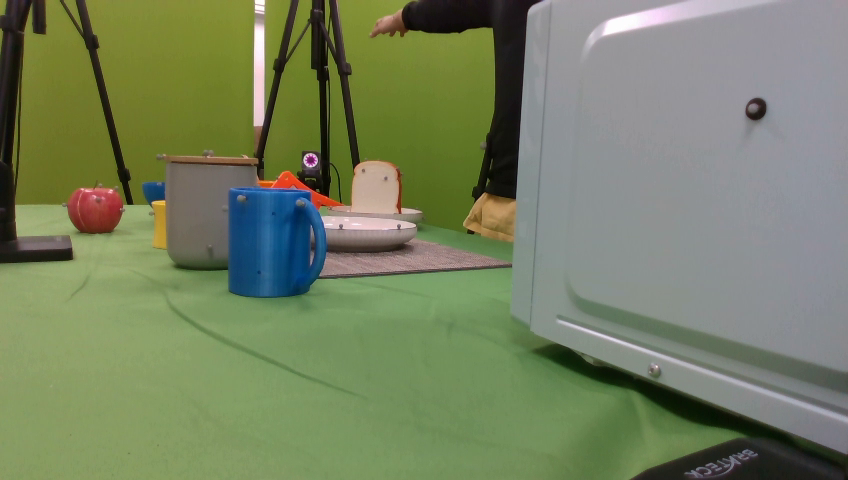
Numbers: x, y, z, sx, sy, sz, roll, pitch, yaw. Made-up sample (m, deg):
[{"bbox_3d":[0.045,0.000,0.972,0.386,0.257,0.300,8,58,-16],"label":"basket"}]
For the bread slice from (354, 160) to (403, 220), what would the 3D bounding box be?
[{"bbox_3d":[-0.095,-0.110,1.325,0.105,0.131,0.019,5,2,6],"label":"bread slice"}]

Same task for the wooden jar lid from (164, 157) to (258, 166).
[{"bbox_3d":[-0.261,-0.093,0.746,0.108,0.020,0.108,0,9,0],"label":"wooden jar lid"}]

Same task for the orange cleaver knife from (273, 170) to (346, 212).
[{"bbox_3d":[-0.253,-0.089,1.368,0.212,0.077,0.012,26,-7,-42],"label":"orange cleaver knife"}]

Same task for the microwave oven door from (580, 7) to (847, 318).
[{"bbox_3d":[0.295,-0.067,0.570,0.358,0.243,0.039,-3,8,-31],"label":"microwave oven door"}]

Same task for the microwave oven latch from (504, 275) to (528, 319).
[{"bbox_3d":[0.100,0.041,0.471,0.079,0.029,0.030,-1,7,-28],"label":"microwave oven latch"}]

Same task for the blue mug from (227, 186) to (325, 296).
[{"bbox_3d":[-0.146,0.000,0.618,0.116,0.106,0.083,7,9,32],"label":"blue mug"}]

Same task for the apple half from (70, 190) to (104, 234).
[{"bbox_3d":[-0.552,-0.048,1.010,0.053,0.074,0.081,-1,9,26],"label":"apple half"}]

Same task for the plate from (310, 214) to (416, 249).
[{"bbox_3d":[-0.117,-0.014,0.967,0.208,0.039,0.207,2,7,0],"label":"plate"}]

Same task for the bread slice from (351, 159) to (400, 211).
[{"bbox_3d":[-0.102,-0.104,1.273,0.107,0.134,0.018,-1,4,4],"label":"bread slice"}]

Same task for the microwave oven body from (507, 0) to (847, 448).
[{"bbox_3d":[0.331,-0.042,0.425,0.444,0.260,0.324,-2,8,-31],"label":"microwave oven body"}]

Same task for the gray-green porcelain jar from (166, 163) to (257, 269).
[{"bbox_3d":[-0.263,-0.031,0.754,0.106,0.126,0.106,2,7,0],"label":"gray-green porcelain jar"}]

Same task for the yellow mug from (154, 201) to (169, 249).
[{"bbox_3d":[-0.338,-0.022,0.899,0.130,0.064,0.100,8,9,35],"label":"yellow mug"}]

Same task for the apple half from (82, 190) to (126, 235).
[{"bbox_3d":[-0.516,-0.046,0.994,0.032,0.081,0.081,0,6,26],"label":"apple half"}]

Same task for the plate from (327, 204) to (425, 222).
[{"bbox_3d":[-0.102,-0.053,1.299,0.209,0.038,0.209,2,7,0],"label":"plate"}]

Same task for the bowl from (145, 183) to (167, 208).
[{"bbox_3d":[-0.459,-0.068,1.175,0.151,0.077,0.151,3,7,0],"label":"bowl"}]

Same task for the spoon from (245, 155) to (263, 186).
[{"bbox_3d":[-0.421,-0.150,1.540,0.042,0.021,0.193,-5,55,-37],"label":"spoon"}]

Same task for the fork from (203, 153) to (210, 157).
[{"bbox_3d":[-0.480,-0.136,1.411,0.028,0.018,0.207,1,-34,-1],"label":"fork"}]

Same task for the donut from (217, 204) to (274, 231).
[{"bbox_3d":[-0.317,-0.038,1.080,0.099,0.048,0.099,3,7,0],"label":"donut"}]
